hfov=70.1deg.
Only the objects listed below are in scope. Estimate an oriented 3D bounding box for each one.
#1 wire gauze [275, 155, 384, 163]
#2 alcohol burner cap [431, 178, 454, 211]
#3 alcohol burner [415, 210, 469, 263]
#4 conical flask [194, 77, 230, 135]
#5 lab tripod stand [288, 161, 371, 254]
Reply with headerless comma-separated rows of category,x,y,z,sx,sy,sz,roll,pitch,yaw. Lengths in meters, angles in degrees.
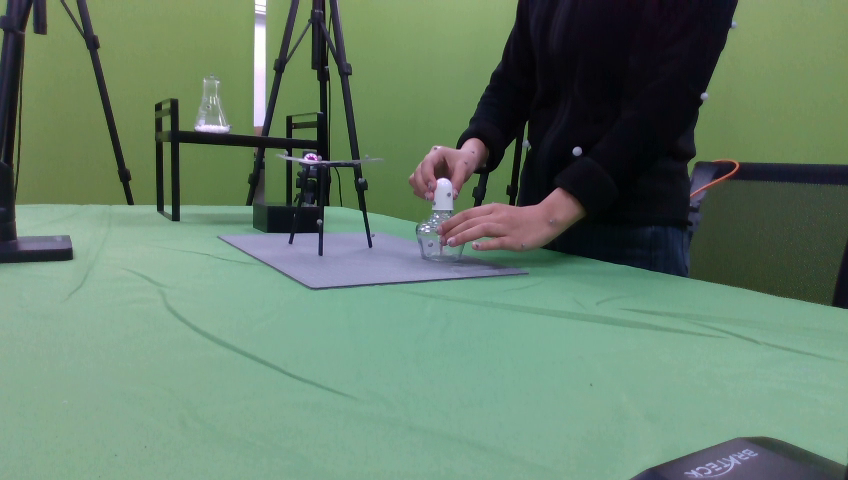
wire gauze,-0.142,-0.118,0.900,0.122,0.011,0.124,-3,8,-37
alcohol burner cap,0.026,-0.064,0.857,0.034,0.048,0.034,-1,6,0
alcohol burner,0.026,-0.028,0.863,0.078,0.119,0.078,1,6,0
conical flask,-0.461,-0.292,1.317,0.075,0.122,0.075,2,7,0
lab tripod stand,-0.148,-0.052,0.909,0.148,0.131,0.148,1,8,0
